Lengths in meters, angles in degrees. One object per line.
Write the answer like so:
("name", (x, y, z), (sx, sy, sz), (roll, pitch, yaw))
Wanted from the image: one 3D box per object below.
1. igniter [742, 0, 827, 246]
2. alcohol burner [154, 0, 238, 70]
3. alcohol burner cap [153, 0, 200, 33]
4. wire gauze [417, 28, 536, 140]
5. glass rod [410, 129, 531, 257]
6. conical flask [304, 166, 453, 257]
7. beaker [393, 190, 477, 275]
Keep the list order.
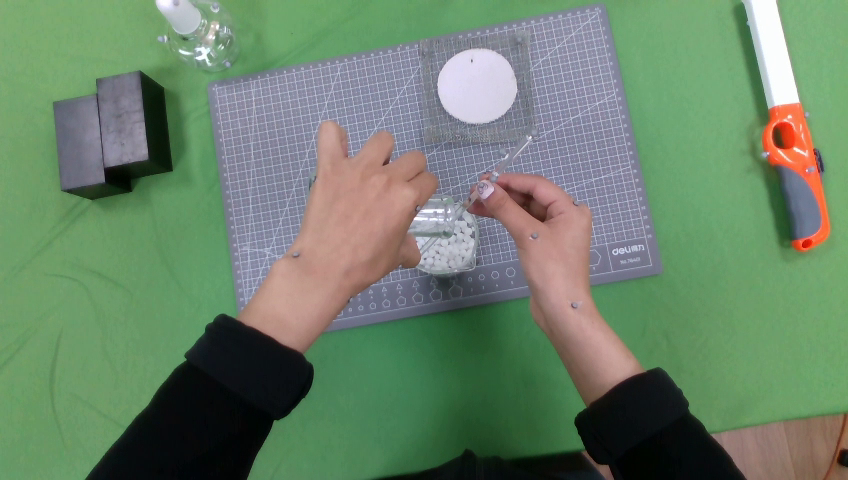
("igniter", (0.368, -0.131, 0.622), (0.057, 0.025, 0.275), (-8, 84, -6))
("alcohol burner", (-0.246, -0.227, 0.639), (0.078, 0.119, 0.077), (-1, 85, 6))
("alcohol burner cap", (-0.249, -0.233, 0.604), (0.034, 0.048, 0.033), (-1, 77, 5))
("wire gauze", (0.056, -0.168, 0.659), (0.125, 0.011, 0.121), (-2, 84, 2))
("glass rod", (0.032, -0.032, 0.520), (0.008, 0.200, 0.008), (15, 55, -22))
("conical flask", (-0.038, -0.023, 0.506), (0.122, 0.075, 0.075), (1, 83, -13))
("beaker", (0.018, -0.001, 0.598), (0.083, 0.100, 0.074), (44, 89, 8))
